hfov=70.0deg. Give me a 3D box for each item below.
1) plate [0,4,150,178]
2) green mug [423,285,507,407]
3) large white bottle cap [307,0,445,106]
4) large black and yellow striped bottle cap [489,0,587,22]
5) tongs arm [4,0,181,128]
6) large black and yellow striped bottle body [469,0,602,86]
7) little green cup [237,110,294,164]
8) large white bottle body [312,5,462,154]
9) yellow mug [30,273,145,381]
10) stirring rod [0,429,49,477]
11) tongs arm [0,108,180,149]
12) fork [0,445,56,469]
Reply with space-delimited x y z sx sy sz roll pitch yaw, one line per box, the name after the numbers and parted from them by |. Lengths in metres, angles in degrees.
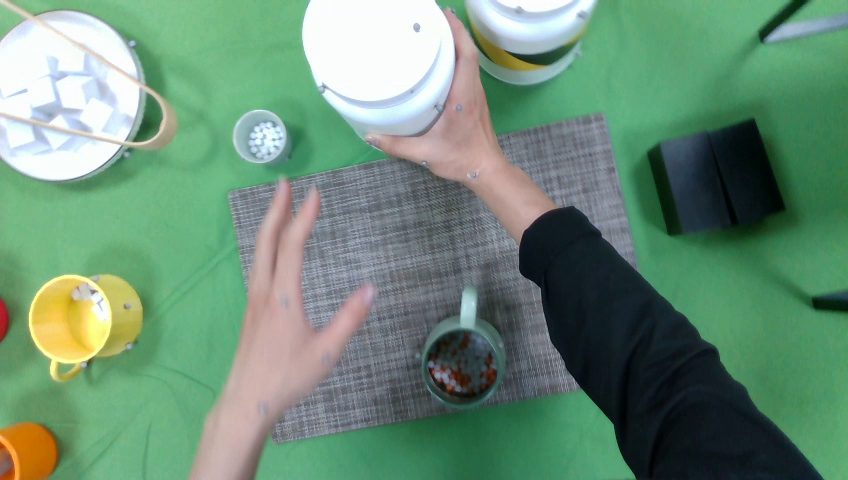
-0.426 -0.175 0.731 0.207 0.039 0.207 0 88 5 | plate
0.044 0.110 0.645 0.092 0.105 0.125 6 88 6 | green mug
-0.041 -0.170 0.503 0.115 0.018 0.114 0 87 5 | large white bottle cap
0.102 -0.251 0.532 0.115 0.019 0.115 0 88 3 | large black and yellow striped bottle cap
-0.436 -0.240 0.704 0.386 0.028 0.028 32 84 7 | tongs arm
0.111 -0.245 0.615 0.130 0.184 0.130 0 87 6 | large black and yellow striped bottle body
-0.183 -0.117 0.708 0.061 0.038 0.061 0 89 4 | little green cup
-0.032 -0.164 0.587 0.130 0.185 0.130 0 86 6 | large white bottle body
-0.395 0.103 0.705 0.100 0.064 0.131 22 91 5 | yellow mug
-0.500 0.278 0.671 0.014 0.006 0.175 39 49 5 | stirring rod
-0.469 -0.164 0.702 0.384 0.026 0.050 18 86 7 | tongs arm
-0.528 0.246 0.669 0.209 0.018 0.028 9 85 -38 | fork
